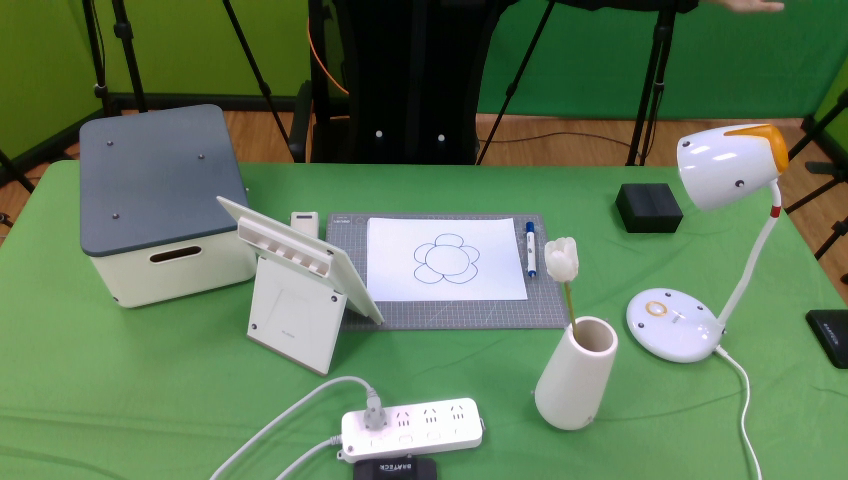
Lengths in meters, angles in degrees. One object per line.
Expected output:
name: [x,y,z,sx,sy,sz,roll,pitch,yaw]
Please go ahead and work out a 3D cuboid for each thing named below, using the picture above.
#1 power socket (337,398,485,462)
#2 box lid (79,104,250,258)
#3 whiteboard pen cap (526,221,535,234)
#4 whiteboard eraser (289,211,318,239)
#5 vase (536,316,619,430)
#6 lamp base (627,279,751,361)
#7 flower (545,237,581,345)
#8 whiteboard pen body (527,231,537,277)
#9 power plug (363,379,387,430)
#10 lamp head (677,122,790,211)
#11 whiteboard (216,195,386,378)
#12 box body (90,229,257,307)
power socket: [-0.018,0.285,0.914,0.227,0.033,0.071,-4,46,-8]
box lid: [-0.467,-0.121,1.075,0.264,0.015,0.369,-13,49,-17]
whiteboard pen cap: [0.216,-0.022,1.234,0.018,0.018,0.033,6,44,1]
whiteboard eraser: [-0.234,-0.007,1.172,0.055,0.042,0.112,-3,47,-5]
vase: [0.229,0.200,0.901,0.098,0.201,0.097,3,46,-3]
lamp base: [0.460,0.100,1.027,0.178,0.181,0.160,27,51,17]
flower: [0.213,0.137,0.846,0.038,0.364,0.044,21,55,40]
whiteboard pen body: [0.211,0.018,1.191,0.017,0.017,0.140,6,44,2]
power plug: [-0.071,0.252,0.911,0.035,0.053,0.072,3,40,0]
lamp head: [0.423,-0.104,0.819,0.122,0.113,0.112,-13,33,40]
whiteboard: [-0.212,0.094,0.938,0.216,0.307,0.143,24,70,17]
box body: [-0.471,-0.070,1.131,0.254,0.161,0.361,-14,49,-17]
